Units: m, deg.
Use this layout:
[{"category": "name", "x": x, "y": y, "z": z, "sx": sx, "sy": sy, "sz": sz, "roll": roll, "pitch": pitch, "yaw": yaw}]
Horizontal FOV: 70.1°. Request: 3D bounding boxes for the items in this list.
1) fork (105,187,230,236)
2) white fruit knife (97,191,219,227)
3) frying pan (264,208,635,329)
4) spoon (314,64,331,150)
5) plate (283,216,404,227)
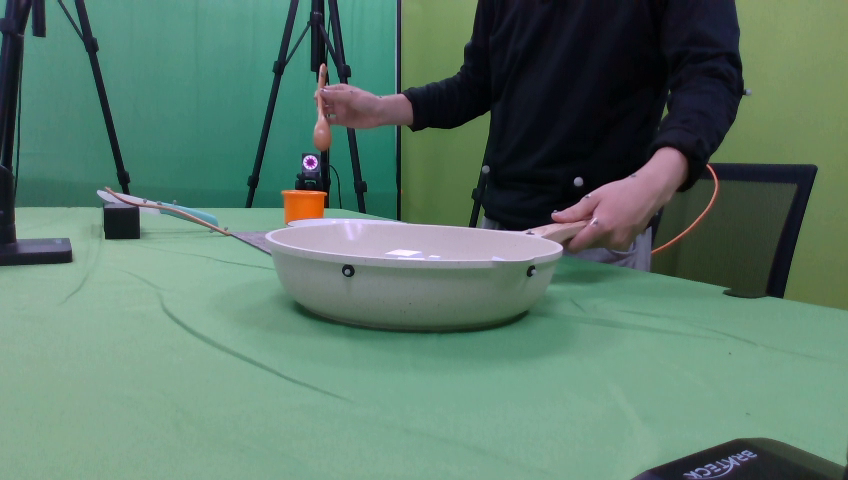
[{"category": "fork", "x": -0.428, "y": -0.047, "z": 1.020, "sx": 0.208, "sy": 0.018, "sz": 0.028, "roll": 19, "pitch": -8, "yaw": -26}, {"category": "white fruit knife", "x": -0.468, "y": -0.056, "z": 1.079, "sx": 0.208, "sy": 0.027, "sz": 0.016, "roll": 15, "pitch": -1, "yaw": -29}, {"category": "frying pan", "x": 0.075, "y": 0.007, "z": 0.666, "sx": 0.490, "sy": 0.102, "sz": 0.305, "roll": -12, "pitch": 15, "yaw": -33}, {"category": "spoon", "x": -0.187, "y": -0.248, "z": 1.105, "sx": 0.021, "sy": 0.193, "sz": 0.042, "roll": -25, "pitch": -32, "yaw": 29}, {"category": "plate", "x": -0.119, "y": -0.009, "z": 0.968, "sx": 0.208, "sy": 0.039, "sz": 0.207, "roll": 3, "pitch": 7, "yaw": 0}]
